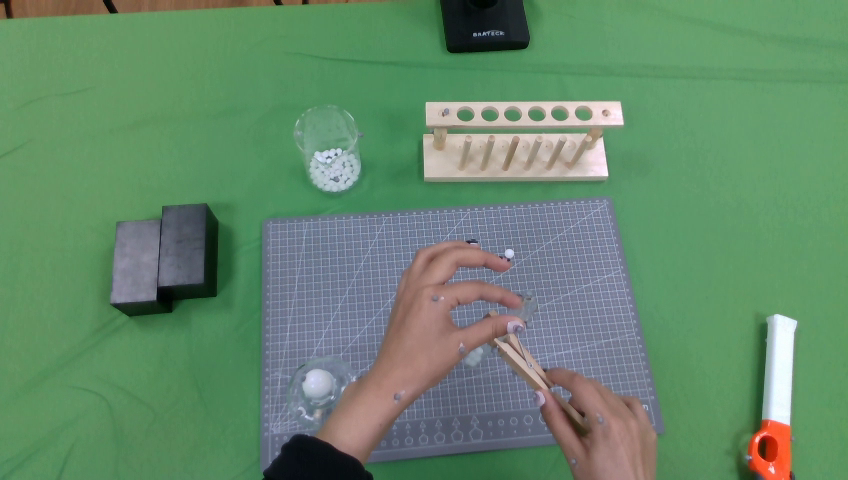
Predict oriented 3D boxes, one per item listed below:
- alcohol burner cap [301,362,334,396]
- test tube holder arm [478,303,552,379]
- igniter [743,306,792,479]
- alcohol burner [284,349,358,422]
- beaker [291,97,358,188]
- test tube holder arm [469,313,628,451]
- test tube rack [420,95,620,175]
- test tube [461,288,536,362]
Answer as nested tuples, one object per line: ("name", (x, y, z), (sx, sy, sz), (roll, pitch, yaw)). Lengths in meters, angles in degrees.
("alcohol burner cap", (-0.107, 0.137, 0.600), (0.034, 0.048, 0.033), (1, 74, -4))
("test tube holder arm", (0.083, 0.095, 0.552), (0.087, 0.015, 0.010), (49, 52, 7))
("igniter", (0.392, 0.208, 0.687), (0.057, 0.025, 0.275), (19, 69, -6))
("alcohol burner", (-0.109, 0.149, 0.634), (0.078, 0.120, 0.077), (2, 67, -4))
("beaker", (-0.119, -0.113, 0.745), (0.074, 0.101, 0.083), (-2, 69, -3))
("test tube holder arm", (0.112, 0.129, 0.546), (0.178, 0.015, 0.013), (42, 52, 2))
("test tube rack", (0.118, -0.133, 0.773), (0.242, 0.085, 0.066), (-1, 69, -3))
("test tube", (0.064, 0.082, 0.554), (0.017, 0.151, 0.017), (9, 59, -14))
